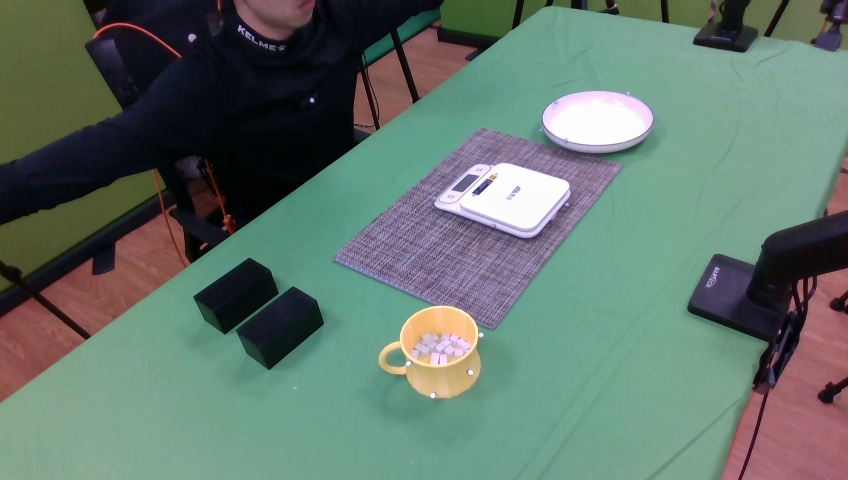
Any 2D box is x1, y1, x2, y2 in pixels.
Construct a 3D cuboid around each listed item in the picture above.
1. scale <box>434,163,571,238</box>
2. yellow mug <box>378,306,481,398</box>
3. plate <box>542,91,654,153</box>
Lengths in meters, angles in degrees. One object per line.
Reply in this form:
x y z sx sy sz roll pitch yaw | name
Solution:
0.132 -0.075 1.025 0.199 0.032 0.149 22 48 30 | scale
0.006 0.144 0.767 0.131 0.064 0.099 -10 41 -2 | yellow mug
0.334 -0.224 1.171 0.209 0.038 0.208 -4 40 4 | plate
